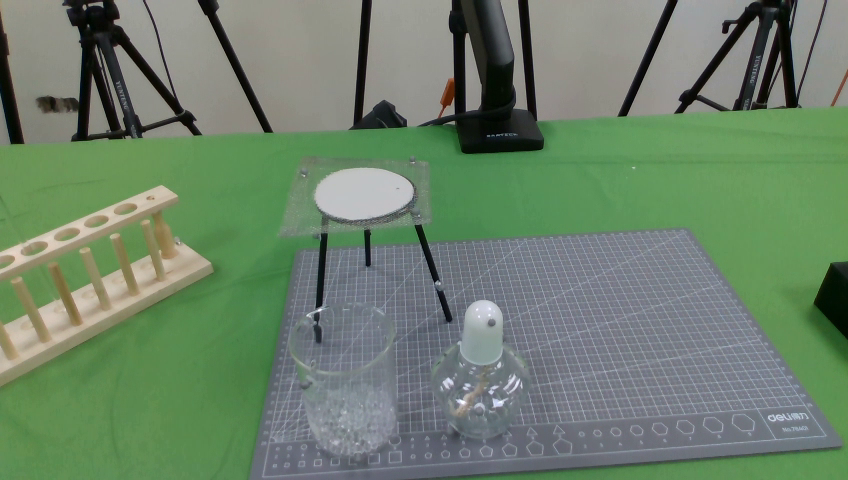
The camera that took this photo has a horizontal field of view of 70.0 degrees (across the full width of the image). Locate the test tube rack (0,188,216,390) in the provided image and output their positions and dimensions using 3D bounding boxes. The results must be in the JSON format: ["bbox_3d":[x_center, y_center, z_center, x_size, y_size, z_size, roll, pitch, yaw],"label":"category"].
[{"bbox_3d":[-0.332,0.044,0.578,0.066,0.086,0.242,27,44,34],"label":"test tube rack"}]

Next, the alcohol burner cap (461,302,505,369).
[{"bbox_3d":[0.044,0.066,0.438,0.034,0.048,0.033,1,37,0],"label":"alcohol burner cap"}]

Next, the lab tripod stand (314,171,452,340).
[{"bbox_3d":[-0.044,0.014,0.562,0.148,0.132,0.147,0,34,0],"label":"lab tripod stand"}]

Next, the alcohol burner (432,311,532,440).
[{"bbox_3d":[0.044,0.095,0.459,0.078,0.120,0.077,-1,37,1],"label":"alcohol burner"}]

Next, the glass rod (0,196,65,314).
[{"bbox_3d":[-0.368,-0.011,0.542,0.008,0.201,0.008,-6,33,4],"label":"glass rod"}]

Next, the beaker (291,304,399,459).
[{"bbox_3d":[-0.057,0.108,0.458,0.083,0.101,0.074,25,43,34],"label":"beaker"}]

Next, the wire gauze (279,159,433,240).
[{"bbox_3d":[-0.054,-0.039,0.521,0.121,0.011,0.124,-1,36,-1],"label":"wire gauze"}]
